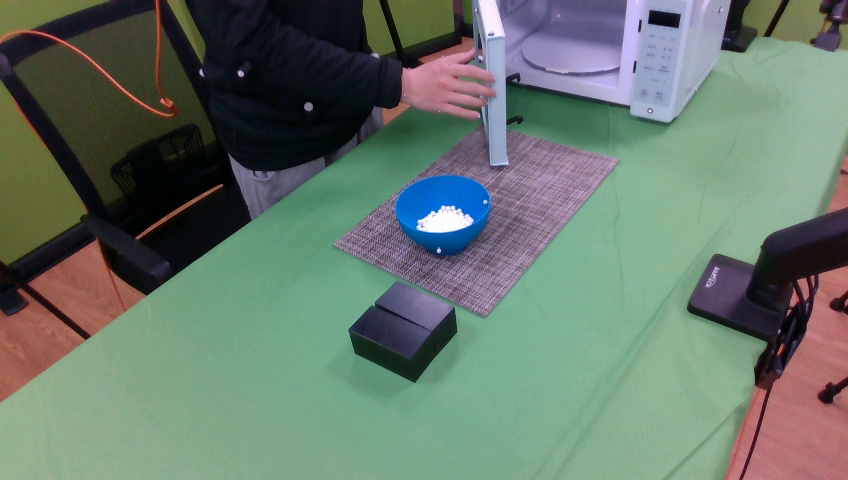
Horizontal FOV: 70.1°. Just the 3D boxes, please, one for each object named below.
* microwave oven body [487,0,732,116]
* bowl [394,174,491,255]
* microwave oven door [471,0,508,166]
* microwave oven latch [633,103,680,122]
[{"bbox_3d":[0.377,-0.462,1.267,0.438,0.261,0.327,21,48,30],"label":"microwave oven body"},{"bbox_3d":[0.032,-0.030,0.949,0.151,0.077,0.150,-4,40,4],"label":"bowl"},{"bbox_3d":[0.122,-0.340,1.153,0.039,0.245,0.354,-5,40,3],"label":"microwave oven door"},{"bbox_3d":[0.443,-0.249,1.157,0.078,0.029,0.030,21,49,30],"label":"microwave oven latch"}]
